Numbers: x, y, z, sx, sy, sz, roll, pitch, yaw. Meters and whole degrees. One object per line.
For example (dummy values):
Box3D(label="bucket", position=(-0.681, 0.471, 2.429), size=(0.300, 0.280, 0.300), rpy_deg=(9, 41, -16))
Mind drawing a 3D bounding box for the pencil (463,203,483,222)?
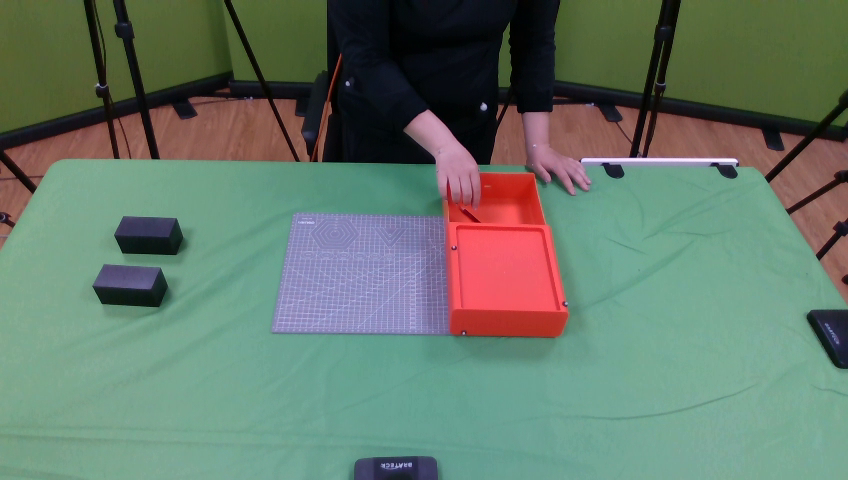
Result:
Box3D(label="pencil", position=(0.133, -0.018, 1.220), size=(0.012, 0.012, 0.193), rpy_deg=(-23, 51, -24))

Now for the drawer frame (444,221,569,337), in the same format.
Box3D(label="drawer frame", position=(0.141, 0.067, 1.097), size=(0.202, 0.083, 0.212), rpy_deg=(2, 46, -4))

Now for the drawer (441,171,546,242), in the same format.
Box3D(label="drawer", position=(0.137, -0.048, 1.214), size=(0.195, 0.073, 0.210), rpy_deg=(2, 43, -4))
